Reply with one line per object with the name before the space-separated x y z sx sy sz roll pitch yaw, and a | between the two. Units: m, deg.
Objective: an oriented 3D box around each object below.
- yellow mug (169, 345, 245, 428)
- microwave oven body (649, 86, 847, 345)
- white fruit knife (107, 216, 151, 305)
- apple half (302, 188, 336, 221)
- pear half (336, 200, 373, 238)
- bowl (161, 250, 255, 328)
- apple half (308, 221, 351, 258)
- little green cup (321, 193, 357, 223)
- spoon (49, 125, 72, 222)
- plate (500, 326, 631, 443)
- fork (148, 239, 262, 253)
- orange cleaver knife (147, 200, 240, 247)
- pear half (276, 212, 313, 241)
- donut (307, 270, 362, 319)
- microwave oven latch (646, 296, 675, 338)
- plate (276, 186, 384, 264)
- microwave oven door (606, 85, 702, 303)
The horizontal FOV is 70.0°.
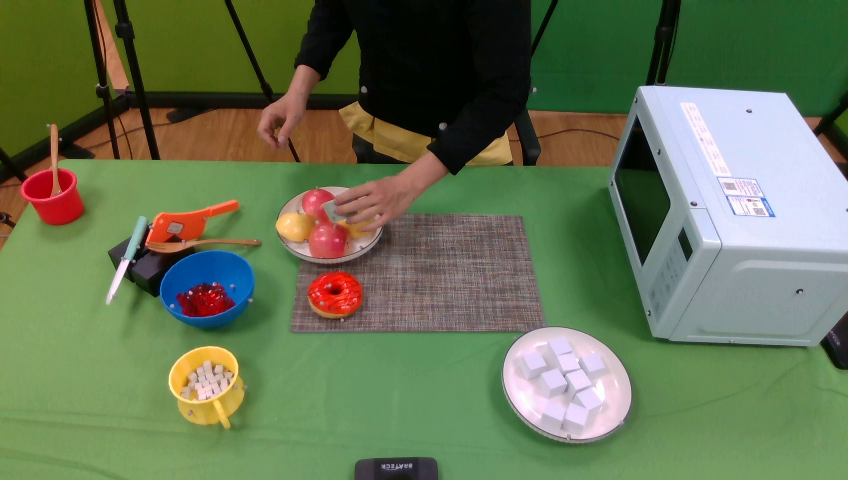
yellow mug | -0.322 0.230 0.922 0.100 0.064 0.130 -24 53 -25
microwave oven body | 0.568 -0.053 1.118 0.326 0.261 0.439 2 45 -1
white fruit knife | -0.518 0.032 1.066 0.027 0.016 0.206 -18 45 19
apple half | -0.205 -0.076 1.216 0.081 0.033 0.081 18 46 -19
pear half | -0.147 -0.059 1.210 0.076 0.056 0.109 -16 45 -25
bowl | -0.362 0.097 1.040 0.151 0.077 0.150 2 45 -2
apple half | -0.180 -0.005 1.150 0.074 0.053 0.080 14 43 8
little green cup | -0.152 -0.058 1.106 0.061 0.038 0.061 -21 8 3
spoon | -0.717 -0.131 1.188 0.042 0.021 0.193 -3 90 -7
plate | 0.224 0.234 0.978 0.208 0.039 0.206 2 46 -2
fork | -0.398 0.008 1.117 0.208 0.019 0.028 -5 34 -37
orange cleaver knife | -0.435 -0.033 1.157 0.012 0.077 0.211 31 26 18
pear half | -0.245 -0.035 1.178 0.070 0.031 0.088 40 41 1
donut | -0.157 0.097 1.073 0.099 0.048 0.098 4 46 -4
microwave oven latch | 0.412 0.134 1.061 0.030 0.029 0.078 4 45 1
plate | -0.184 -0.027 1.194 0.209 0.038 0.208 2 46 -2
microwave oven door | 0.423 -0.094 1.140 0.039 0.245 0.353 2 46 -1
